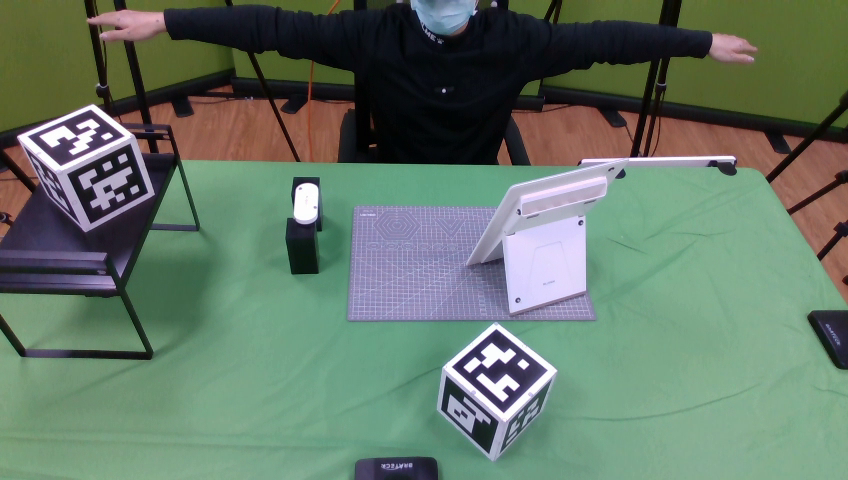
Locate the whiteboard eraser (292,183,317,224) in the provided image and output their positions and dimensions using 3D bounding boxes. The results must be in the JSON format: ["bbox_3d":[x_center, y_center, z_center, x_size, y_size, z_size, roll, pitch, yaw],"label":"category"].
[{"bbox_3d":[-0.217,-0.068,1.108,0.041,0.019,0.100,-2,46,-4],"label":"whiteboard eraser"}]

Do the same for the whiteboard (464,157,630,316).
[{"bbox_3d":[0.224,0.015,1.043,0.217,0.306,0.143,-14,68,-17],"label":"whiteboard"}]
